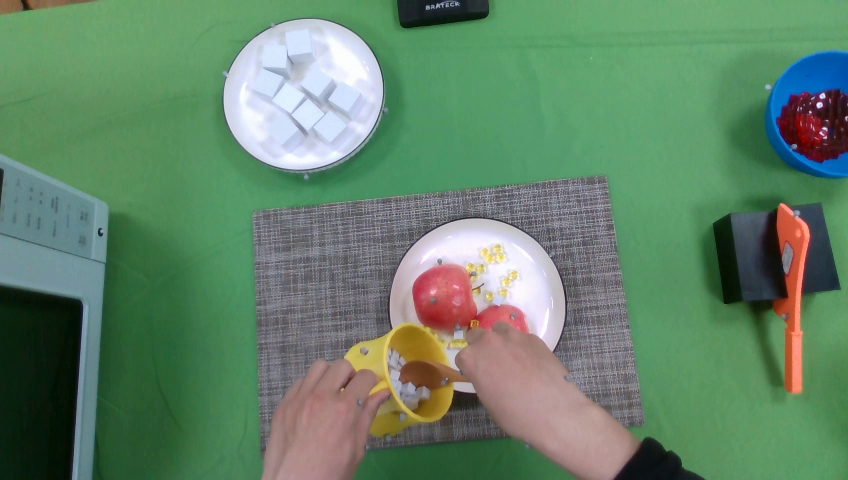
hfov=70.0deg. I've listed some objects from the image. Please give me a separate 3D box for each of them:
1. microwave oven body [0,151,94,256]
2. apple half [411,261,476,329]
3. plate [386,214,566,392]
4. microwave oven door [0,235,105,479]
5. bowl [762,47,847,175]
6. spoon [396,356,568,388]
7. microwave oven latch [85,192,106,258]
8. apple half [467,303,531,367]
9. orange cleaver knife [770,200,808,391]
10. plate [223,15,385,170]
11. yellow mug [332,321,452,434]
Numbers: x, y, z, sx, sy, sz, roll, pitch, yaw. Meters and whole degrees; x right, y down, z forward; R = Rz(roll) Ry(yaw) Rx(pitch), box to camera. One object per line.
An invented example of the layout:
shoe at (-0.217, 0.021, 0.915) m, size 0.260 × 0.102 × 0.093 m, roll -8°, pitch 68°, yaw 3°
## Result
microwave oven body at (-0.561, 0.144, 0.629) m, size 0.326 × 0.261 × 0.440 m, roll -3°, pitch 80°, yaw 3°
apple half at (0.021, 0.063, 0.706) m, size 0.074 × 0.053 × 0.080 m, roll -8°, pitch 80°, yaw 4°
plate at (0.060, 0.074, 0.717) m, size 0.209 × 0.038 × 0.208 m, roll -1°, pitch 80°, yaw 3°
microwave oven door at (-0.415, 0.178, 0.609) m, size 0.039 × 0.245 × 0.354 m, roll -3°, pitch 79°, yaw 3°
bowl at (0.465, -0.140, 0.714) m, size 0.151 × 0.077 × 0.151 m, roll -1°, pitch 80°, yaw 4°
spoon at (0.049, 0.127, 0.577) m, size 0.021 × 0.193 × 0.042 m, roll -45°, pitch 115°, yaw -43°
microwave oven latch at (-0.413, -0.018, 0.748) m, size 0.030 × 0.029 × 0.079 m, roll 0°, pitch 80°, yaw 3°
apple half at (0.087, 0.110, 0.703) m, size 0.081 × 0.033 × 0.081 m, roll -1°, pitch 76°, yaw 5°
orange cleaver knife at (0.405, 0.063, 0.678) m, size 0.012 × 0.077 × 0.212 m, roll -5°, pitch 103°, yaw 7°
plate at (-0.151, -0.187, 0.783) m, size 0.207 × 0.039 × 0.206 m, roll -1°, pitch 79°, yaw 4°
yellow mug at (-0.037, 0.140, 0.598) m, size 0.064 × 0.131 × 0.099 m, roll -28°, pitch 79°, yaw 35°
